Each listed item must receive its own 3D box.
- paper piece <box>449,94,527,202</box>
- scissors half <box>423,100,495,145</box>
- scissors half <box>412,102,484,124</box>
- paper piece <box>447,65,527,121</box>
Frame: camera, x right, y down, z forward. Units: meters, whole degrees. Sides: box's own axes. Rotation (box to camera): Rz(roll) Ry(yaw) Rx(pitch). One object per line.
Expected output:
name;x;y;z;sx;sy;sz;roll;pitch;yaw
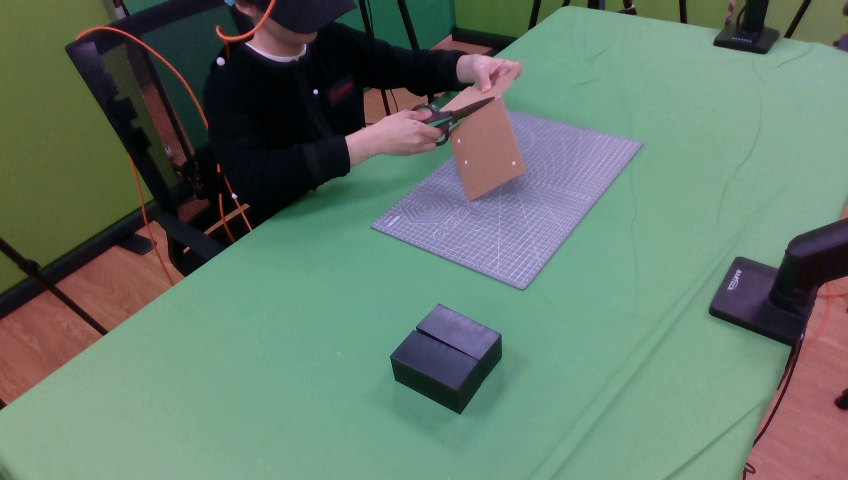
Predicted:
paper piece;0.102;-0.150;1.017;0.009;0.135;0.138;-11;79;-40
scissors half;0.060;-0.204;1.049;0.174;0.040;0.013;-24;23;48
scissors half;0.050;-0.222;1.040;0.174;0.040;0.013;5;38;34
paper piece;0.108;-0.258;1.072;0.134;0.004;0.136;-17;27;41
